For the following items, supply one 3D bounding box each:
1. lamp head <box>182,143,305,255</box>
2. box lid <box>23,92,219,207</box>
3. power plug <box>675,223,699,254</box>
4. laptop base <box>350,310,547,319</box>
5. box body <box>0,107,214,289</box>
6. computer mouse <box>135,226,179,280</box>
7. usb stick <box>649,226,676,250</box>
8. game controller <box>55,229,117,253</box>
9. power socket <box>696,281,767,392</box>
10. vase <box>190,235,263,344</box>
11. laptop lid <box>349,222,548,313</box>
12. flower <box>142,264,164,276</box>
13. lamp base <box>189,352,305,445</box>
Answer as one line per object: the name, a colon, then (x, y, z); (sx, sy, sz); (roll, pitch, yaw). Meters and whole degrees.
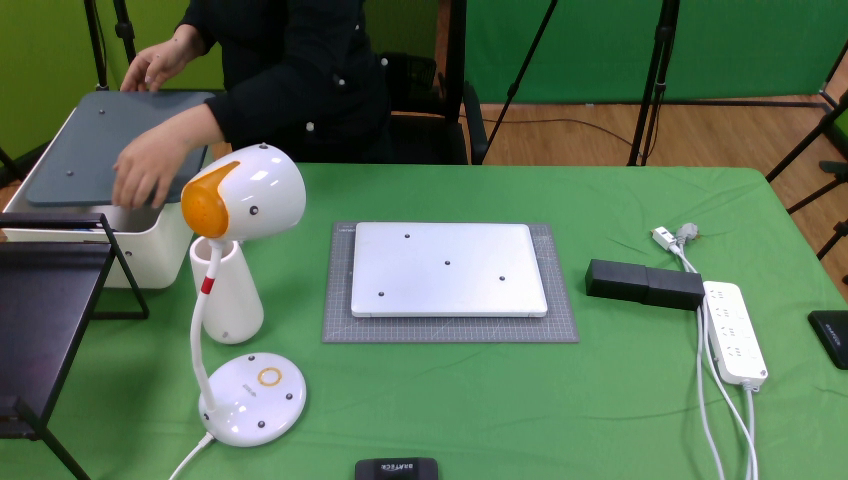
lamp head: (-0.216, -0.044, 0.697); (0.112, 0.113, 0.123); (23, 31, 17)
box lid: (-0.528, -0.176, 1.099); (0.263, 0.015, 0.369); (-2, 41, -8)
power plug: (0.537, 0.000, 1.244); (0.053, 0.035, 0.072); (19, 83, -17)
laptop base: (0.041, 0.056, 1.149); (0.355, 0.023, 0.234); (0, 43, -4)
box body: (-0.563, -0.087, 1.139); (0.254, 0.161, 0.361); (2, 46, -3)
computer mouse: (-0.492, 0.020, 1.118); (0.063, 0.041, 0.116); (1, 54, -9)
usb stick: (0.485, -0.008, 1.237); (0.021, 0.027, 0.059); (-22, 44, -13)
game controller: (-0.597, 0.010, 1.116); (0.155, 0.052, 0.096); (2, 49, -2)
power socket: (0.543, 0.161, 1.077); (0.072, 0.033, 0.225); (6, 46, 2)
vase: (-0.317, 0.081, 0.971); (0.098, 0.201, 0.097); (3, 47, -3)
laptop lid: (0.042, 0.046, 1.142); (0.357, 0.013, 0.240); (2, 44, -3)
flower: (-0.491, -0.055, 1.174); (0.044, 0.038, 0.359); (-38, 35, 18)
lamp base: (-0.268, 0.196, 0.876); (0.160, 0.181, 0.179); (25, 52, 20)
